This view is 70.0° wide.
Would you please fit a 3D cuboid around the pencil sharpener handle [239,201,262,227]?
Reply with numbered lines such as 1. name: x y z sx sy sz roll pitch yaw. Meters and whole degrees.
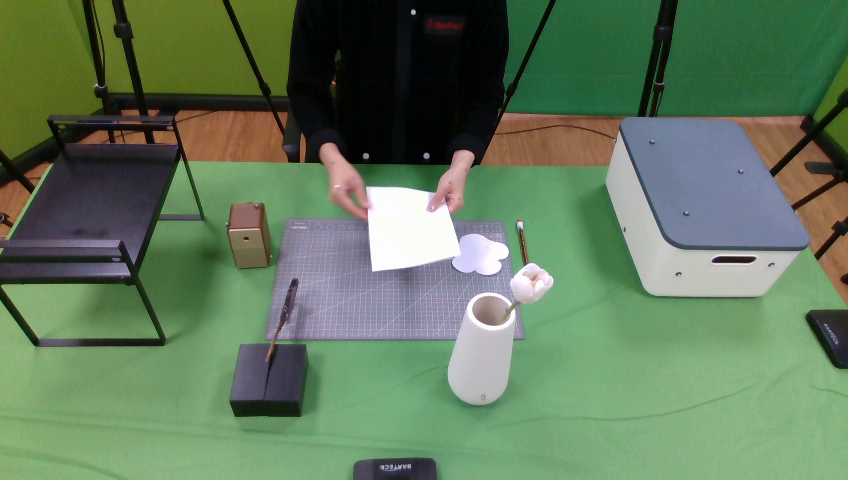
1. pencil sharpener handle: -0.325 -0.055 1.150 0.036 0.068 0.030 -13 46 3

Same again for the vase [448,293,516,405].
1. vase: 0.091 0.169 0.921 0.098 0.201 0.097 3 47 -3

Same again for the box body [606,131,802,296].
1. box body: 0.530 -0.067 1.204 0.254 0.161 0.361 0 46 -4

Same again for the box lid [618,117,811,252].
1. box lid: 0.534 -0.117 1.149 0.263 0.015 0.369 0 47 -3

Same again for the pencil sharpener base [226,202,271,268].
1. pencil sharpener base: -0.323 -0.010 1.123 0.061 0.107 0.076 -3 46 -7

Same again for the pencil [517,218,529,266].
1. pencil: 0.200 0.028 1.197 0.012 0.012 0.193 1 48 -3

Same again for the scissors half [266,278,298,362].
1. scissors half: -0.234 0.127 0.993 0.013 0.040 0.174 13 46 -4

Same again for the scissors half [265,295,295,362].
1. scissors half: -0.240 0.143 1.004 0.013 0.040 0.174 18 27 -7

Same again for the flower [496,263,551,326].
1. flower: 0.102 0.120 0.853 0.044 0.363 0.038 -1 64 -10
